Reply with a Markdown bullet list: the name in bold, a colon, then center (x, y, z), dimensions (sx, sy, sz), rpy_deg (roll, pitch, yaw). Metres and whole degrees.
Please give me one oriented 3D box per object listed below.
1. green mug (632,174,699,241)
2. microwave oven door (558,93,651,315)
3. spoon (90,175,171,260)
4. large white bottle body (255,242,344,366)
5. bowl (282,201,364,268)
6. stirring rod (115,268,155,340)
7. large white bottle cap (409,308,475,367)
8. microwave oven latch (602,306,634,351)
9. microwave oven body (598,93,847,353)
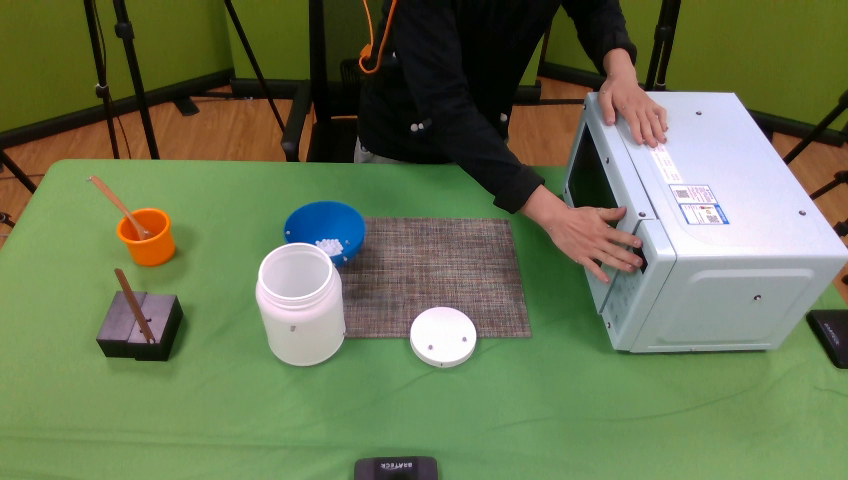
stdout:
- **green mug**: center (0.456, -0.056, 1.153), dimensions (0.125, 0.105, 0.092), rpy_deg (-16, 45, -10)
- **microwave oven door**: center (0.324, -0.074, 1.123), dimensions (0.039, 0.245, 0.353), rpy_deg (0, 46, -4)
- **spoon**: center (-0.538, -0.042, 1.111), dimensions (0.021, 0.194, 0.041), rpy_deg (-13, 26, 52)
- **large white bottle body**: center (-0.196, 0.102, 0.967), dimensions (0.131, 0.185, 0.130), rpy_deg (2, 49, -2)
- **bowl**: center (-0.187, 0.005, 1.137), dimensions (0.151, 0.077, 0.150), rpy_deg (3, 46, -3)
- **stirring rod**: center (-0.478, 0.103, 0.999), dimensions (0.014, 0.006, 0.175), rpy_deg (7, 32, -49)
- **large white bottle cap**: center (0.031, 0.166, 1.041), dimensions (0.115, 0.018, 0.114), rpy_deg (2, 46, -2)
- **microwave oven latch**: center (0.332, 0.153, 1.044), dimensions (0.030, 0.029, 0.078), rpy_deg (-1, 45, -4)
- **microwave oven body**: center (0.476, -0.041, 1.110), dimensions (0.326, 0.261, 0.438), rpy_deg (-1, 45, -4)
